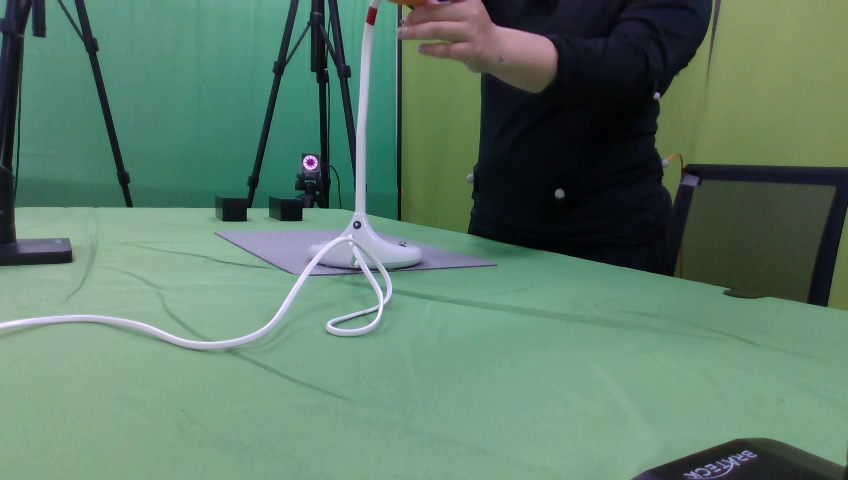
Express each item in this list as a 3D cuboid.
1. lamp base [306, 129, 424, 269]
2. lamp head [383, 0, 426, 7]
[{"bbox_3d":[-0.077,-0.057,0.810,0.161,0.180,0.179,2,10,-4],"label":"lamp base"},{"bbox_3d":[-0.024,-0.325,0.671,0.112,0.123,0.112,4,3,0],"label":"lamp head"}]
